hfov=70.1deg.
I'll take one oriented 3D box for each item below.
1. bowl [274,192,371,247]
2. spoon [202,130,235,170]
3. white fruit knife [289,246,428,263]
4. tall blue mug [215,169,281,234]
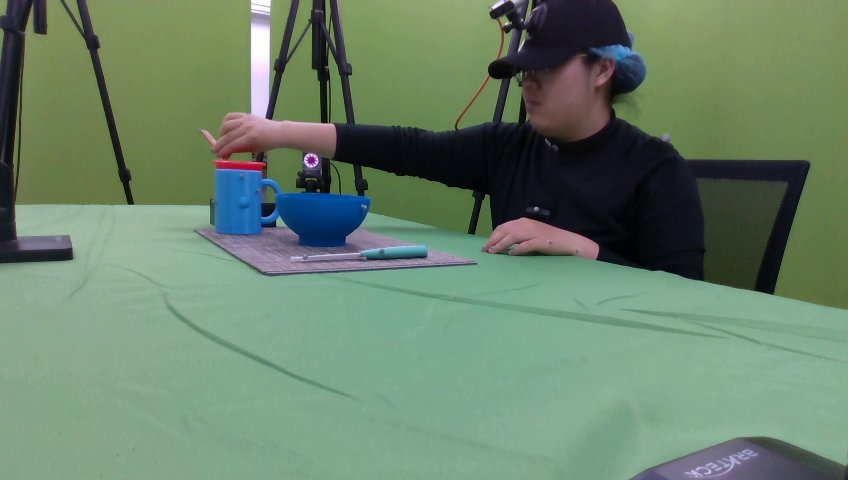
[{"bbox_3d":[-0.161,-0.033,0.958,0.151,0.077,0.151,3,7,0],"label":"bowl"},{"bbox_3d":[-0.386,-0.151,1.184,0.042,0.021,0.193,-11,59,-48],"label":"spoon"},{"bbox_3d":[-0.082,0.022,0.822,0.208,0.016,0.027,-3,-20,-30],"label":"white fruit knife"},{"bbox_3d":[-0.313,-0.069,1.061,0.077,0.108,0.108,6,8,31],"label":"tall blue mug"}]
